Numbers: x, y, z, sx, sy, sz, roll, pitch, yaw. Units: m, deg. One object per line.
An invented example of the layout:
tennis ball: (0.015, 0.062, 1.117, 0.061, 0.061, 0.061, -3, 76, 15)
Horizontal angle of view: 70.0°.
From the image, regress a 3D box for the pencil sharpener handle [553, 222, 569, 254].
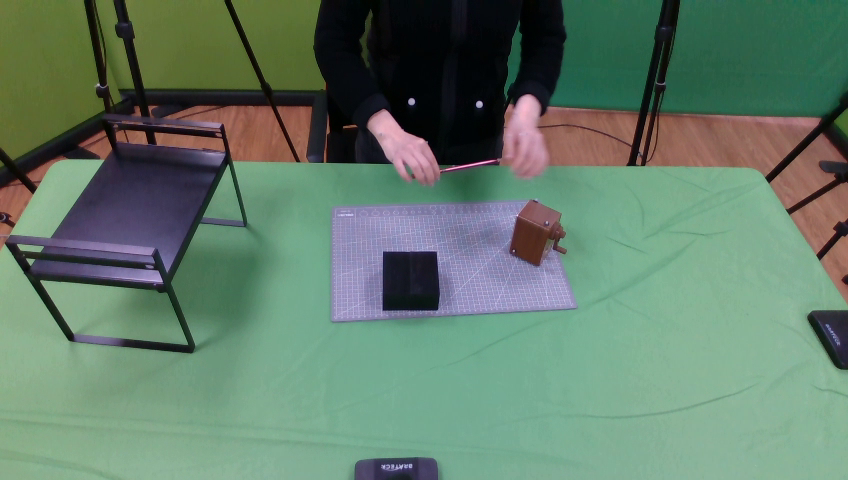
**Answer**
pencil sharpener handle: (0.260, -0.001, 1.135, 0.030, 0.068, 0.036, 27, 58, 20)

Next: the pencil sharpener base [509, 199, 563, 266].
pencil sharpener base: (0.216, -0.012, 1.160, 0.076, 0.107, 0.061, 27, 50, 20)

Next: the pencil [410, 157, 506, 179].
pencil: (0.068, -0.141, 1.165, 0.194, 0.012, 0.012, -13, 48, -12)
